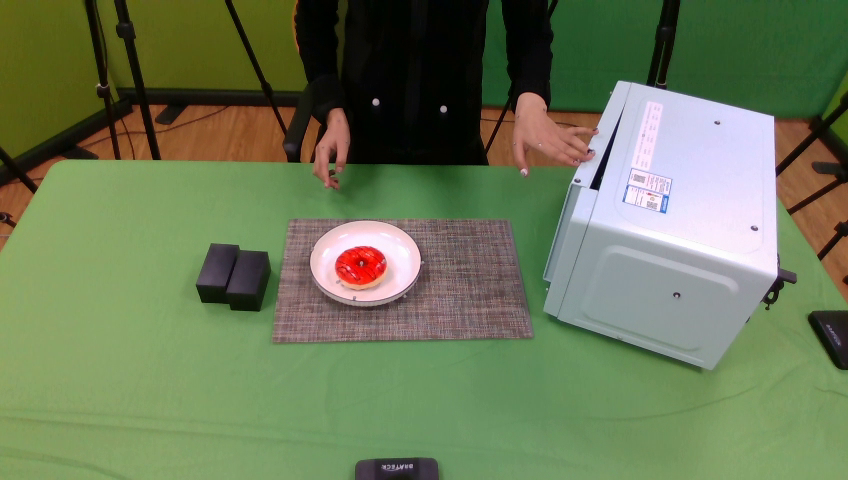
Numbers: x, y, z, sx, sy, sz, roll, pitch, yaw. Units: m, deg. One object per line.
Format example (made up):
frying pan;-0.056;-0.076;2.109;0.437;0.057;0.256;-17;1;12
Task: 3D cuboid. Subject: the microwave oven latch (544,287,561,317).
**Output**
microwave oven latch;0.237;0.099;1.087;0.030;0.029;0.079;17;47;13

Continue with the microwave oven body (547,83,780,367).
microwave oven body;0.445;-0.041;1.101;0.325;0.261;0.440;17;47;13

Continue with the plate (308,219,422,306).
plate;-0.110;0.044;1.132;0.209;0.038;0.208;2;47;-2

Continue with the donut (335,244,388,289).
donut;-0.114;0.047;1.113;0.099;0.048;0.098;1;45;-1

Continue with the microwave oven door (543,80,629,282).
microwave oven door;0.316;-0.119;1.158;0.039;0.245;0.354;20;48;15
